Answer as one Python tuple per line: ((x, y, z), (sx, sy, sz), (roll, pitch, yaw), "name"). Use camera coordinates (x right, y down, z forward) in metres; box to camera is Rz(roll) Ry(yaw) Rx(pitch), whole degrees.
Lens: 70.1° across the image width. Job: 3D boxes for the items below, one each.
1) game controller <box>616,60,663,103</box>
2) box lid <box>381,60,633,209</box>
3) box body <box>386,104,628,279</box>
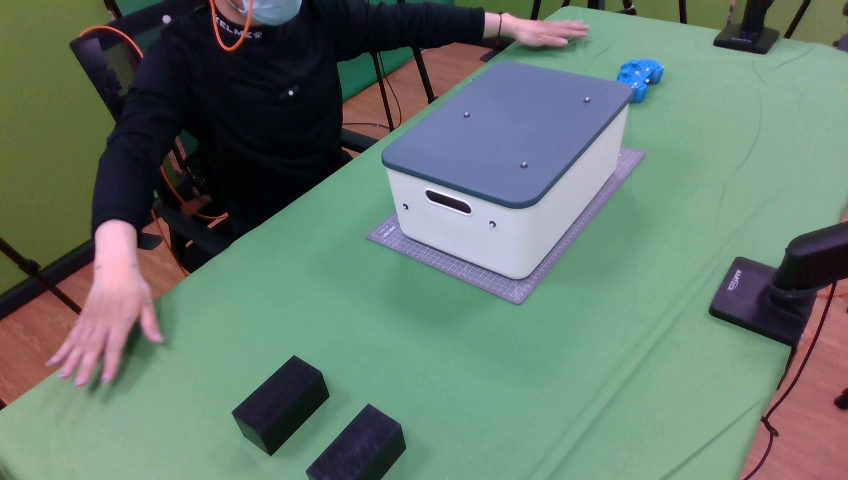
((0.442, -0.345, 1.288), (0.096, 0.052, 0.155), (25, 50, 27), "game controller")
((0.137, -0.182, 0.935), (0.261, 0.015, 0.372), (22, 48, 29), "box lid")
((0.142, -0.125, 0.982), (0.252, 0.161, 0.365), (22, 48, 29), "box body")
